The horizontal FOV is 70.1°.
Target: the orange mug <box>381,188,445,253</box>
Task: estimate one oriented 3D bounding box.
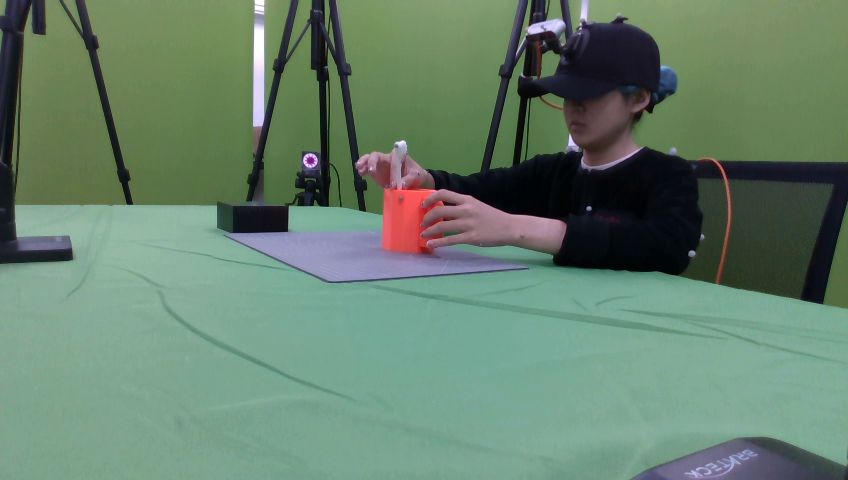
[{"bbox_3d":[-0.013,-0.031,0.941,0.084,0.100,0.125,-2,5,-37],"label":"orange mug"}]

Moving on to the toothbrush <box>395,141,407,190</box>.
[{"bbox_3d":[-0.035,-0.073,0.931,0.014,0.182,0.017,32,49,31],"label":"toothbrush"}]
